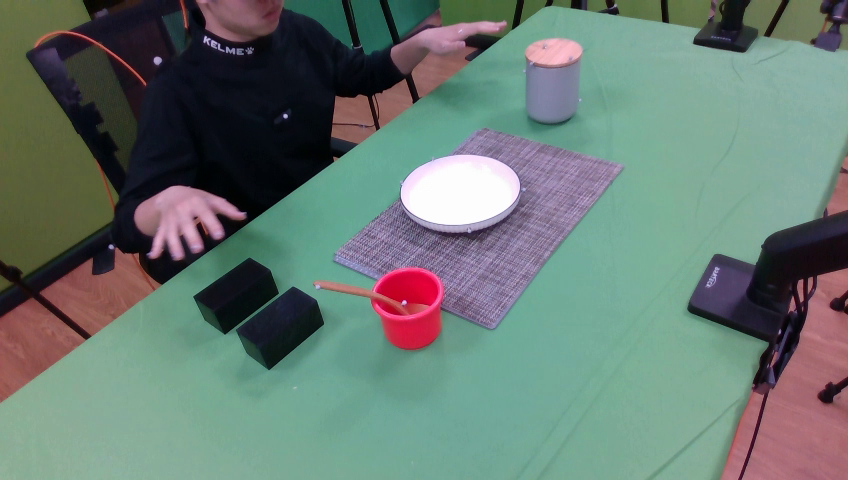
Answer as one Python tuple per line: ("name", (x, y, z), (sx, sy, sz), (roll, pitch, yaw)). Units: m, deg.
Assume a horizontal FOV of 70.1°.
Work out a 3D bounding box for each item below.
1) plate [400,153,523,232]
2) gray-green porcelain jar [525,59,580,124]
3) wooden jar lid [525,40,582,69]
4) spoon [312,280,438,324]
("plate", (0.065, -0.078, 1.034), (0.207, 0.039, 0.206), (-4, 41, 4))
("gray-green porcelain jar", (0.256, -0.305, 1.209), (0.106, 0.127, 0.105), (-4, 41, 4))
("wooden jar lid", (0.249, -0.354, 1.167), (0.108, 0.021, 0.108), (-4, 44, 5))
("spoon", (-0.060, 0.078, 0.793), (0.195, 0.021, 0.041), (24, 25, -35))
